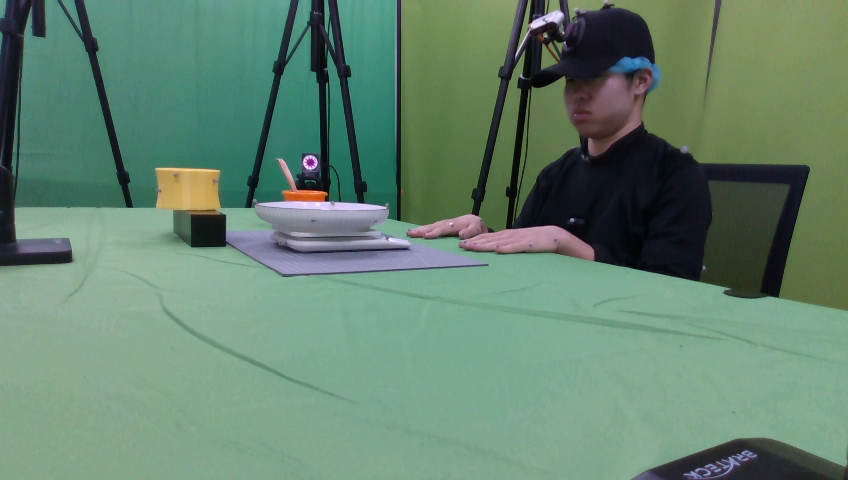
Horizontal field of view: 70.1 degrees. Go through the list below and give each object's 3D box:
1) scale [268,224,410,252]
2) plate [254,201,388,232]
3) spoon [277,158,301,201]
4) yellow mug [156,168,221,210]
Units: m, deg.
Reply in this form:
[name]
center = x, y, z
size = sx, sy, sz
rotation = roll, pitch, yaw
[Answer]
[scale]
center = -0.137, -0.006, 0.980
size = 0.202, 0.031, 0.148
rotation = -1, 8, -30
[plate]
center = -0.161, -0.038, 0.961
size = 0.209, 0.038, 0.209
rotation = 2, 6, 0
[spoon]
center = -0.272, -0.103, 1.260
size = 0.042, 0.193, 0.021
rotation = -5, -34, -33
[yellow mug]
center = -0.395, -0.088, 1.025
size = 0.100, 0.064, 0.130
rotation = 2, 7, -9
